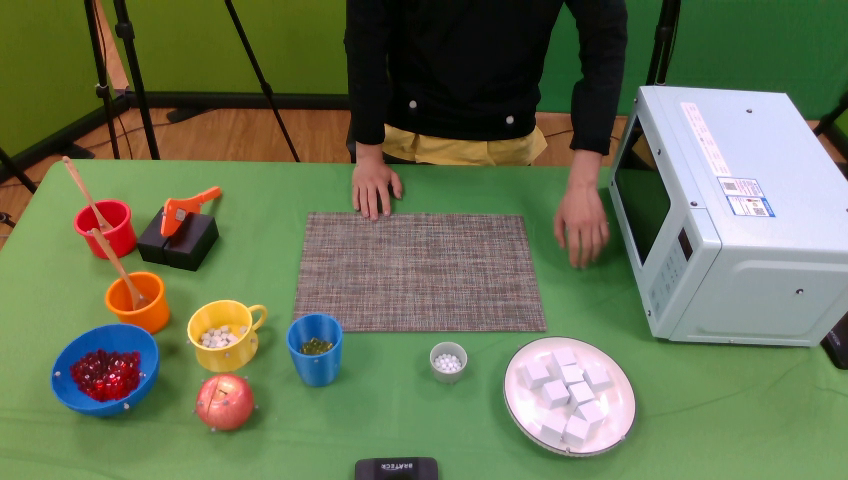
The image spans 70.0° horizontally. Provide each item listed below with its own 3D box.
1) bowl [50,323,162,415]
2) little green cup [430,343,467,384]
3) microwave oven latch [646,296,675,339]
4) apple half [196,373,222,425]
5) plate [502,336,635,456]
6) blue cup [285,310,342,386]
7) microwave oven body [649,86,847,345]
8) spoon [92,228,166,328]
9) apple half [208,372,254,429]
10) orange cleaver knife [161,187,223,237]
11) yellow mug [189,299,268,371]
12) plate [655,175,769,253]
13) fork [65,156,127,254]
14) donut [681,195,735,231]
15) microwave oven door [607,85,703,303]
[{"bbox_3d":[-0.472,0.209,0.924,0.151,0.077,0.150,2,45,-2],"label":"bowl"},{"bbox_3d":[0.039,0.203,0.994,0.061,0.039,0.061,2,46,-2],"label":"little green cup"},{"bbox_3d":[0.412,0.134,1.061,0.030,0.029,0.078,4,45,1],"label":"microwave oven latch"},{"bbox_3d":[-0.322,0.239,0.907,0.033,0.081,0.081,7,46,-1],"label":"apple half"},{"bbox_3d":[0.225,0.248,0.963,0.208,0.039,0.206,2,46,-2],"label":"plate"},{"bbox_3d":[-0.170,0.179,0.958,0.093,0.101,0.092,1,44,-1],"label":"blue cup"},{"bbox_3d":[0.567,-0.053,1.118,0.326,0.261,0.439,2,45,-1],"label":"microwave oven body"},{"bbox_3d":[-0.495,0.062,1.014,0.041,0.194,0.021,-34,13,-32],"label":"spoon"},{"bbox_3d":[-0.282,0.244,0.908,0.053,0.075,0.080,7,43,-1],"label":"apple half"},{"bbox_3d":[-0.448,-0.058,1.180,0.012,0.077,0.211,13,17,6],"label":"orange cleaver knife"},{"bbox_3d":[-0.316,0.148,1.002,0.131,0.064,0.099,-32,56,-31],"label":"yellow mug"},{"bbox_3d":[0.555,-0.047,1.182,0.209,0.038,0.208,1,45,-1],"label":"plate"},{"bbox_3d":[-0.614,-0.064,1.130,0.028,0.018,0.207,-29,97,-17],"label":"fork"},{"bbox_3d":[0.551,-0.054,1.177,0.099,0.048,0.098,1,36,0],"label":"donut"},{"bbox_3d":[0.423,-0.094,1.140,0.039,0.245,0.353,2,46,-1],"label":"microwave oven door"}]
